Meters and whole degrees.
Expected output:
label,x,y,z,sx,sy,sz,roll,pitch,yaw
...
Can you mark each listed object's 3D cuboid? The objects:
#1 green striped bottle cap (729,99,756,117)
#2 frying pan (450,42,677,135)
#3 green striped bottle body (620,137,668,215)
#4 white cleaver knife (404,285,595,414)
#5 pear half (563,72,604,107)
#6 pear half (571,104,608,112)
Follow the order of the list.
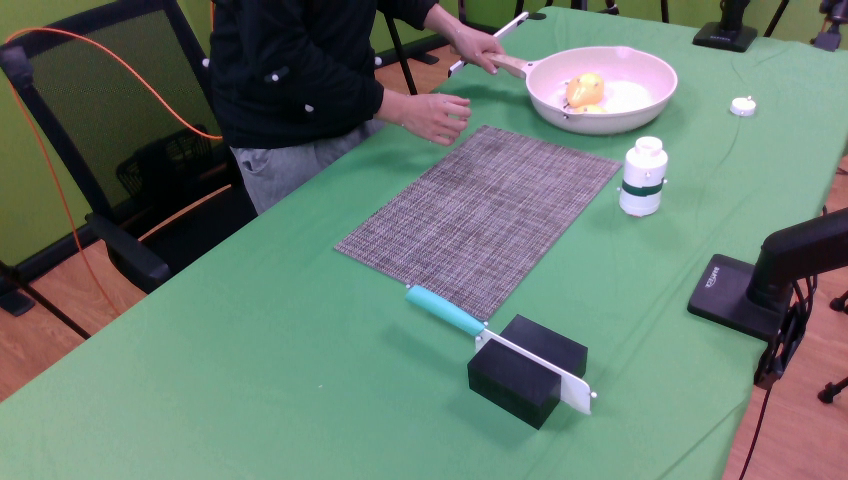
label,x,y,z,sx,sy,sz,roll,pitch,yaw
green striped bottle cap,0.623,-0.259,1.182,0.044,0.020,0.044,-3,40,3
frying pan,0.268,-0.344,1.266,0.485,0.103,0.307,25,49,21
green striped bottle body,0.350,-0.103,0.963,0.063,0.120,0.063,-4,41,4
white cleaver knife,0.083,0.136,0.764,0.284,0.066,0.021,28,47,31
pear half,0.325,-0.311,1.256,0.075,0.056,0.110,25,53,39
pear half,0.328,-0.253,1.204,0.088,0.031,0.070,9,39,13
